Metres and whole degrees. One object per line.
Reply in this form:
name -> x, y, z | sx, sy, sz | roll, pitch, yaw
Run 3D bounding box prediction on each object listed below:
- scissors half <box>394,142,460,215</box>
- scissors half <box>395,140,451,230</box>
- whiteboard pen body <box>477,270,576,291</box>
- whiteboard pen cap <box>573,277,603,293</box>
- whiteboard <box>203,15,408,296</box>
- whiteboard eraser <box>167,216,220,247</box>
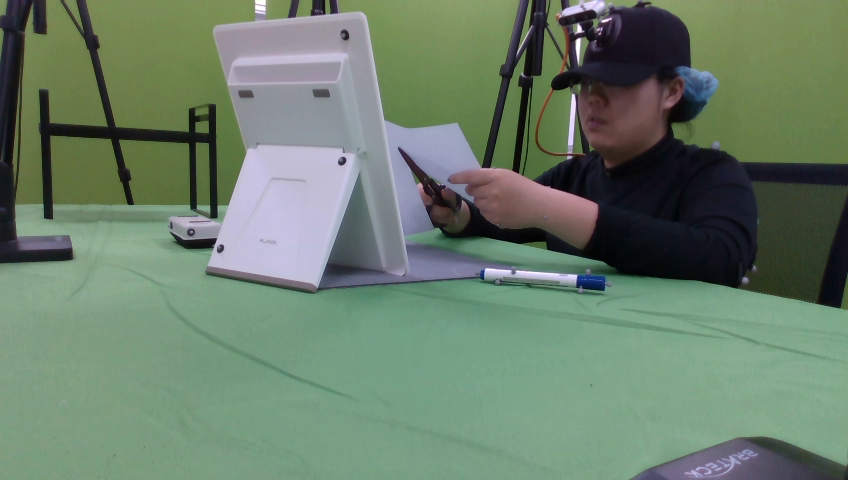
scissors half -> 0.007, -0.101, 0.987 | 0.012, 0.040, 0.176 | 2, -32, 47
scissors half -> -0.003, -0.086, 0.977 | 0.013, 0.175, 0.040 | -4, 35, 43
whiteboard pen body -> 0.131, 0.048, 0.706 | 0.140, 0.017, 0.017 | 4, 8, 18
whiteboard pen cap -> 0.186, 0.051, 0.687 | 0.033, 0.018, 0.018 | 4, 8, 17
whiteboard -> -0.166, -0.072, 0.668 | 0.216, 0.305, 0.144 | 8, 30, 30
whiteboard eraser -> -0.350, -0.013, 0.920 | 0.056, 0.042, 0.112 | 0, 7, -35
